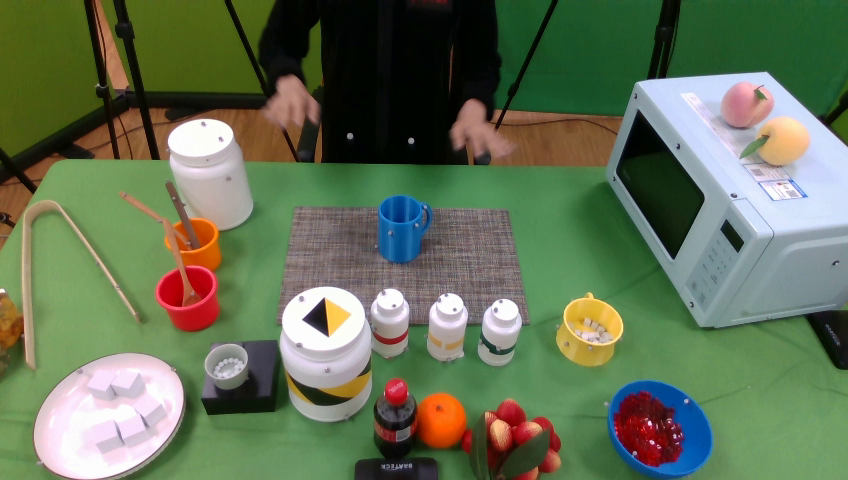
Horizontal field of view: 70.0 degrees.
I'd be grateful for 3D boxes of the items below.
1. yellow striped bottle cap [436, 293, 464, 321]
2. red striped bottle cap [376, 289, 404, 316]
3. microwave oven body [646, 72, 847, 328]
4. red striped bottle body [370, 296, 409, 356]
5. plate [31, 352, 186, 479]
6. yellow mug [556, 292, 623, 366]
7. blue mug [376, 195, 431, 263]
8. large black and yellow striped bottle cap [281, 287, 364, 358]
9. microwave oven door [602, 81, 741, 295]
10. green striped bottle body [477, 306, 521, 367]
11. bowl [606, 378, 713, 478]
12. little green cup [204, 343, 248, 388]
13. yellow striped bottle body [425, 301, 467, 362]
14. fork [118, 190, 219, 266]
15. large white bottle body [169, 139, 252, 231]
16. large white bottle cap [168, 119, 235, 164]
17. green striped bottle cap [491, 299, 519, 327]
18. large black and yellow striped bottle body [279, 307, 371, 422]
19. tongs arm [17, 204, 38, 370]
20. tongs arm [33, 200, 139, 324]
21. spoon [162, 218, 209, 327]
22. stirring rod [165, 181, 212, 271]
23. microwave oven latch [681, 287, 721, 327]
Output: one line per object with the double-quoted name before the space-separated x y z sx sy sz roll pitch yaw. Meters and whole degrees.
"yellow striped bottle cap" 0.041 0.106 0.959 0.044 0.019 0.044 -1 49 1
"red striped bottle cap" -0.055 0.098 0.959 0.044 0.018 0.044 0 48 1
"microwave oven body" 0.607 -0.089 1.164 0.326 0.261 0.438 -7 46 -10
"red striped bottle body" -0.058 0.134 0.997 0.063 0.120 0.062 4 47 -4
"plate" -0.459 0.262 0.898 0.209 0.038 0.208 2 46 -2
"yellow mug" 0.285 0.145 1.051 0.100 0.064 0.130 7 45 3
"blue mug" -0.035 -0.027 1.159 0.116 0.106 0.082 -24 53 -25
"large black and yellow striped bottle cap" -0.141 0.112 0.847 0.115 0.019 0.114 5 45 -4
"microwave oven door" 0.456 -0.107 1.162 0.039 0.245 0.353 -7 47 -11
"green striped bottle body" 0.124 0.151 0.995 0.063 0.120 0.063 2 46 -2
"bowl" 0.340 0.292 0.906 0.151 0.077 0.150 2 46 -2
"little green cup" -0.294 0.190 0.909 0.061 0.039 0.061 1 48 -1
"yellow striped bottle body" 0.037 0.142 0.996 0.063 0.121 0.062 3 47 -3
"fork" -0.459 -0.020 1.092 0.208 0.018 0.028 44 44 -24
"large white bottle body" -0.411 -0.123 1.170 0.131 0.185 0.130 2 46 -2
"large white bottle cap" -0.407 -0.181 1.108 0.115 0.018 0.114 2 47 -2
"green striped bottle cap" 0.128 0.115 0.958 0.044 0.020 0.044 1 47 -1
"large black and yellow striped bottle body" -0.145 0.173 0.907 0.131 0.185 0.130 2 46 -2
"tongs arm" -0.698 0.069 1.068 0.028 0.028 0.385 -20 50 -13
"tongs arm" -0.622 0.034 1.105 0.051 0.026 0.382 -32 56 -26
"spoon" -0.410 0.054 1.029 0.041 0.021 0.194 -17 94 -15
"stirring rod" -0.430 -0.025 1.107 0.014 0.006 0.176 -25 94 -20
"microwave oven latch" 0.494 0.120 1.087 0.030 0.029 0.078 -6 46 -10
